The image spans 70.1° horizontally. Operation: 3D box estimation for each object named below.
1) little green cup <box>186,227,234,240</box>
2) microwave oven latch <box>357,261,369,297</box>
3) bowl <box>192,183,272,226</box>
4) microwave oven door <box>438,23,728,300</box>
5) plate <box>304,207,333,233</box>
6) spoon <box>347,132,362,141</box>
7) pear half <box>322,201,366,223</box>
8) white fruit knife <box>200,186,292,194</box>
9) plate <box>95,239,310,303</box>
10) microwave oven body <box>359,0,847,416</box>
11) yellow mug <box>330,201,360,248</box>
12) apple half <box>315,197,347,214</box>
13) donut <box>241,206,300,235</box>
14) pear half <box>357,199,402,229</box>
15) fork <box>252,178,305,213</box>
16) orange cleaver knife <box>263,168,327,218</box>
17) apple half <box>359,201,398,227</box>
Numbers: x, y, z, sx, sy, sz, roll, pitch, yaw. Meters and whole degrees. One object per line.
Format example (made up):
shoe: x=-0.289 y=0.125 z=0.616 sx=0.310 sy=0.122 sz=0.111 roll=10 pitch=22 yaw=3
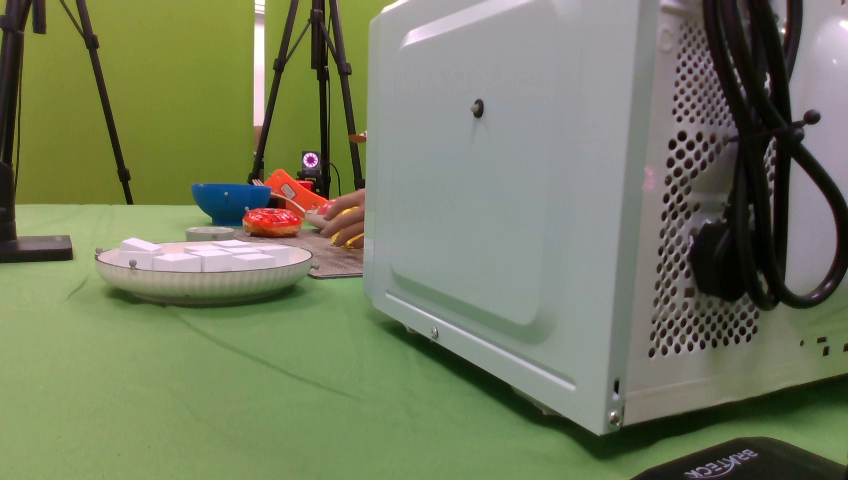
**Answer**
little green cup: x=-0.285 y=0.005 z=0.805 sx=0.061 sy=0.038 sz=0.061 roll=2 pitch=8 yaw=0
microwave oven latch: x=-0.019 y=0.033 z=0.530 sx=0.079 sy=0.029 sz=0.030 roll=-1 pitch=7 yaw=-26
bowl: x=-0.381 y=-0.071 z=1.202 sx=0.151 sy=0.077 sz=0.151 roll=3 pitch=7 yaw=0
microwave oven door: x=0.181 y=-0.072 z=0.621 sx=0.358 sy=0.243 sz=0.039 roll=-2 pitch=8 yaw=-29
plate: x=-0.123 y=-0.037 z=1.149 sx=0.209 sy=0.038 sz=0.209 roll=2 pitch=7 yaw=0
spoon: x=-0.120 y=-0.232 z=1.293 sx=0.041 sy=0.021 sz=0.194 roll=-1 pitch=19 yaw=12
pear half: x=-0.157 y=-0.059 z=1.197 sx=0.088 sy=0.031 sz=0.070 roll=12 pitch=30 yaw=-4
white fruit knife: x=-0.399 y=-0.111 z=1.368 sx=0.208 sy=0.016 sz=0.027 roll=-4 pitch=-19 yaw=-30
plate: x=-0.224 y=0.031 z=0.629 sx=0.208 sy=0.039 sz=0.207 roll=2 pitch=8 yaw=0
microwave oven body: x=0.211 y=-0.047 z=0.474 sx=0.444 sy=0.260 sz=0.324 roll=-1 pitch=7 yaw=-28
yellow mug: x=-0.105 y=-0.025 z=0.952 sx=0.100 sy=0.064 sz=0.131 roll=4 pitch=9 yaw=18
apple half: x=-0.162 y=-0.052 z=1.120 sx=0.081 sy=0.053 sz=0.074 roll=4 pitch=7 yaw=-14
donut: x=-0.263 y=-0.032 z=1.039 sx=0.099 sy=0.048 sz=0.099 roll=4 pitch=10 yaw=0
pear half: x=-0.075 y=-0.047 z=1.132 sx=0.076 sy=0.056 sz=0.110 roll=13 pitch=7 yaw=31
fork: x=-0.295 y=-0.084 z=1.292 sx=0.206 sy=0.018 sz=0.028 roll=29 pitch=9 yaw=25
orange cleaver knife: x=-0.262 y=-0.088 z=1.353 sx=0.211 sy=0.077 sz=0.012 roll=28 pitch=13 yaw=-1
apple half: x=-0.088 y=-0.058 z=1.190 sx=0.081 sy=0.033 sz=0.081 roll=9 pitch=29 yaw=-5
